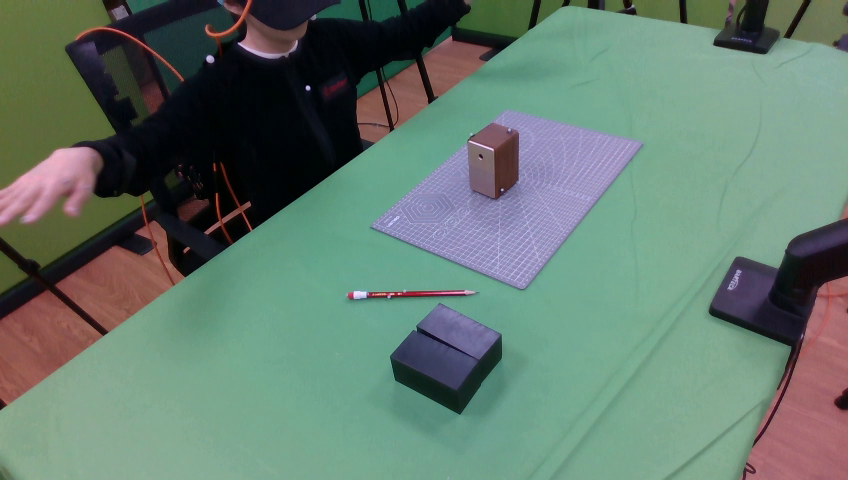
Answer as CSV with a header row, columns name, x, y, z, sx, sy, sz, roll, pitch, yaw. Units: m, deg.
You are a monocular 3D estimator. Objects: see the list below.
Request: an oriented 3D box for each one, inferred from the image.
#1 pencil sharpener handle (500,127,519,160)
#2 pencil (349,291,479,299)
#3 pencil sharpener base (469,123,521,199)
name,x,y,z,sx,sy,sz,roll,pitch,yaw
pencil sharpener handle,0.157,-0.175,1.069,0.035,0.068,0.031,31,53,29
pencil,-0.015,0.081,0.894,0.194,0.012,0.012,-1,41,6
pencil sharpener base,0.126,-0.138,1.049,0.061,0.107,0.077,26,50,34
